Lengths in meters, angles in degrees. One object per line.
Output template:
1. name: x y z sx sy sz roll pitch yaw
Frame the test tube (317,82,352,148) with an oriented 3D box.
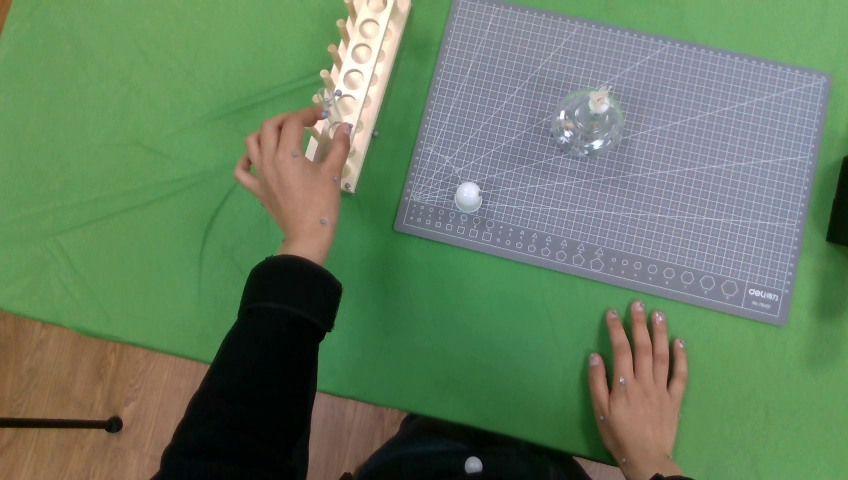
1. test tube: -0.091 -0.125 0.628 0.017 0.150 0.017 0 80 0

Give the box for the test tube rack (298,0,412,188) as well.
1. test tube rack: -0.083 -0.189 0.684 0.066 0.085 0.242 17 85 5

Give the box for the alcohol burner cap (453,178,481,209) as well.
1. alcohol burner cap: 0.049 -0.055 0.682 0.034 0.048 0.034 0 84 3

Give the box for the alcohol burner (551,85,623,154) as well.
1. alcohol burner: 0.178 -0.134 0.649 0.078 0.119 0.077 0 84 4
